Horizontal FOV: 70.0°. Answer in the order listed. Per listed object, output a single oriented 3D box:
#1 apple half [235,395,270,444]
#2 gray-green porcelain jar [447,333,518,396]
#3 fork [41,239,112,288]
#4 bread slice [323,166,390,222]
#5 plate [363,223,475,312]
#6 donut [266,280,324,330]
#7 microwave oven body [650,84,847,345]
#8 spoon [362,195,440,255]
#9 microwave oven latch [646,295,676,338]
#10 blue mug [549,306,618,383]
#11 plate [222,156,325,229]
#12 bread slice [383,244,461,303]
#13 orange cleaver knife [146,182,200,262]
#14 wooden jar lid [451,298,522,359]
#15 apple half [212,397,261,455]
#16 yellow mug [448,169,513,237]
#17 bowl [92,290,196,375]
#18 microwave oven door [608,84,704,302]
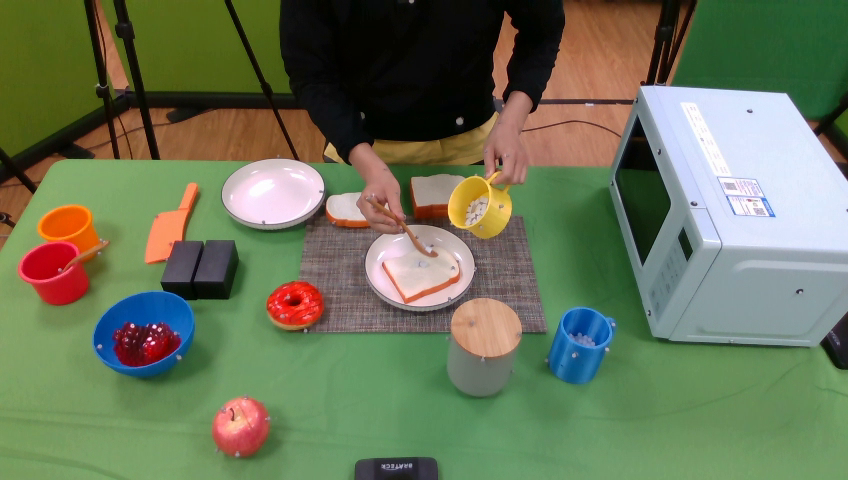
[{"bbox_3d":[-0.245,0.259,0.893,0.033,0.082,0.081,-29,55,-22],"label":"apple half"},{"bbox_3d":[0.091,0.178,0.960,0.106,0.127,0.105,2,46,-2],"label":"gray-green porcelain jar"},{"bbox_3d":[-0.591,0.040,1.028,0.207,0.019,0.028,-27,37,29],"label":"fork"},{"bbox_3d":[-0.140,-0.091,1.224,0.134,0.018,0.106,-19,51,6],"label":"bread slice"},{"bbox_3d":[-0.009,0.054,1.126,0.208,0.039,0.206,2,46,-2],"label":"plate"},{"bbox_3d":[-0.223,0.113,1.051,0.099,0.048,0.098,2,45,-2],"label":"donut"},{"bbox_3d":[0.569,-0.054,1.116,0.326,0.261,0.439,2,46,-1],"label":"microwave oven body"},{"bbox_3d":[-0.037,-0.025,1.039,0.021,0.195,0.041,-47,36,1],"label":"spoon"},{"bbox_3d":[0.413,0.133,1.060,0.030,0.029,0.078,4,46,1],"label":"microwave oven latch"},{"bbox_3d":[0.269,0.167,0.997,0.116,0.106,0.082,-19,51,-21],"label":"blue mug"},{"bbox_3d":[-0.308,-0.094,1.251,0.209,0.038,0.208,2,46,-2],"label":"plate"},{"bbox_3d":[0.001,0.055,1.130,0.131,0.019,0.104,-22,53,-18],"label":"bread slice"},{"bbox_3d":[-0.494,-0.039,1.198,0.077,0.012,0.210,-3,48,2],"label":"orange cleaver knife"},{"bbox_3d":[0.093,0.135,0.914,0.108,0.021,0.107,2,48,-3],"label":"wooden jar lid"},{"bbox_3d":[-0.276,0.276,0.877,0.053,0.075,0.080,-29,58,-21],"label":"apple half"},{"bbox_3d":[0.111,-0.074,1.092,0.064,0.131,0.099,23,21,-43],"label":"yellow mug"},{"bbox_3d":[-0.436,0.161,0.971,0.151,0.077,0.150,2,46,-2],"label":"bowl"},{"bbox_3d":[0.424,-0.096,1.138,0.039,0.245,0.353,2,47,-1],"label":"microwave oven door"}]
